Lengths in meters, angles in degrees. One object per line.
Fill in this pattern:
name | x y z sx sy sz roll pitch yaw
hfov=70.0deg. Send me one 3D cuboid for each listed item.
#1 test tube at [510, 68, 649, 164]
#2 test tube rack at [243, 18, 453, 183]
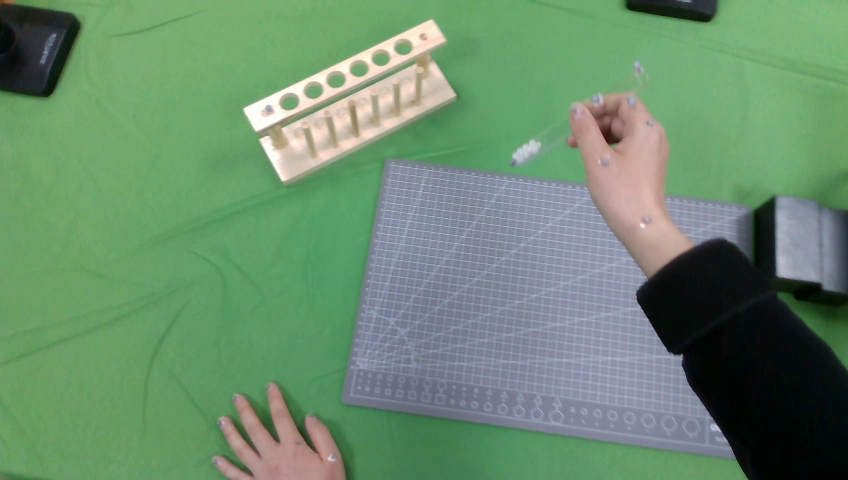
test tube | 0.125 -0.100 0.514 0.017 0.150 0.017 14 64 -30
test tube rack | -0.083 -0.166 0.727 0.242 0.085 0.066 -28 75 -9
